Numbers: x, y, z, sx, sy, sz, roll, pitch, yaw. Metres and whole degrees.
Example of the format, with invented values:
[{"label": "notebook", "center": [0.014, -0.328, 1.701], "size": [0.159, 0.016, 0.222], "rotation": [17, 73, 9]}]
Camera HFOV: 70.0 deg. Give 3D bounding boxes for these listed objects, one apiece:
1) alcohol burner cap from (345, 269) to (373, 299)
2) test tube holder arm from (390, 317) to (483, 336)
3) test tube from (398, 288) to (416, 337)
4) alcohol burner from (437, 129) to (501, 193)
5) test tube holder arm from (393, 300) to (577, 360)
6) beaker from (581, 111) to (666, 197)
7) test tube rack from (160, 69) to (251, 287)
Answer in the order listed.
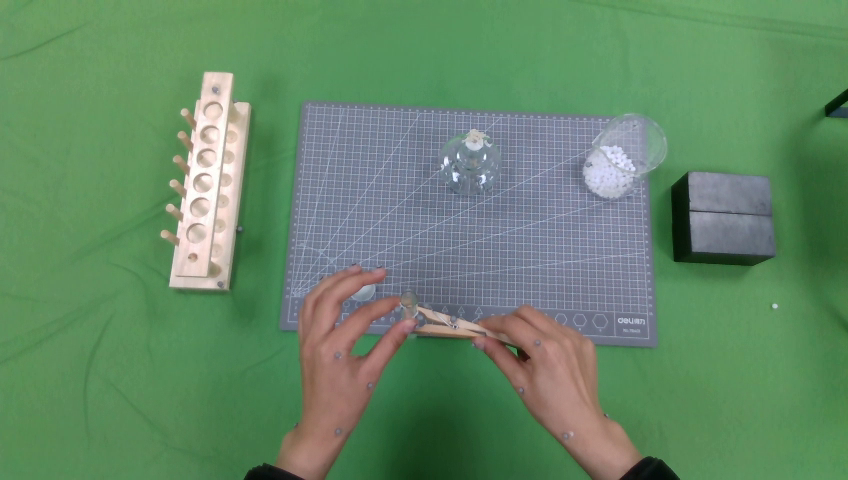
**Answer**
[{"label": "alcohol burner cap", "center": [-0.078, 0.049, 0.709], "size": [0.034, 0.048, 0.033], "rotation": [1, 75, -3]}, {"label": "test tube holder arm", "center": [0.012, 0.082, 0.571], "size": [0.088, 0.015, 0.010], "rotation": [5, 78, 0]}, {"label": "test tube", "center": [-0.015, 0.071, 0.567], "size": [0.017, 0.151, 0.017], "rotation": [0, 71, -1]}, {"label": "alcohol burner", "center": [0.054, -0.101, 0.715], "size": [0.078, 0.119, 0.077], "rotation": [0, 76, 0]}, {"label": "test tube holder arm", "center": [0.057, 0.085, 0.571], "size": [0.178, 0.015, 0.013], "rotation": [14, 79, 1]}, {"label": "beaker", "center": [0.232, -0.098, 0.729], "size": [0.084, 0.101, 0.073], "rotation": [1, 75, 0]}, {"label": "test tube rack", "center": [-0.261, -0.072, 0.714], "size": [0.067, 0.085, 0.241], "rotation": [3, 76, -1]}]
